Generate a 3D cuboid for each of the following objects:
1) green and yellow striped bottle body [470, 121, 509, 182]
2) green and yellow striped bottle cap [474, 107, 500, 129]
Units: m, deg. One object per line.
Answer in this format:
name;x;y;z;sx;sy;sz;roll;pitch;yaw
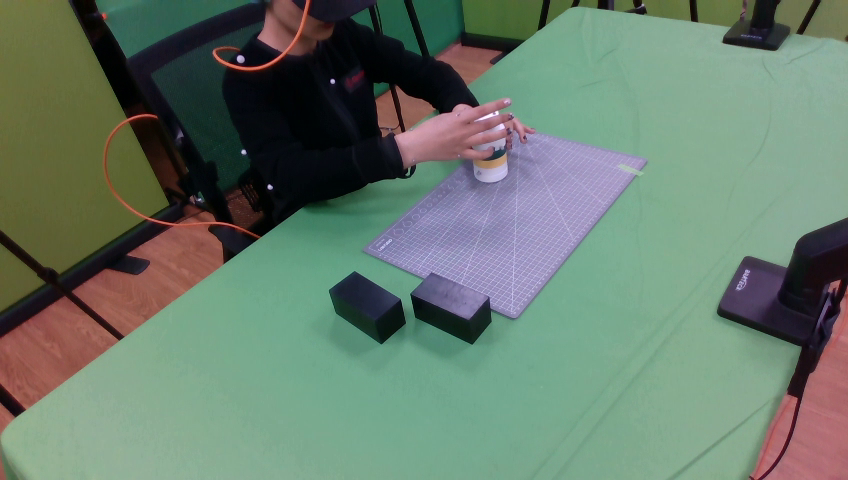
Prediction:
green and yellow striped bottle body;0.116;-0.168;1.078;0.063;0.120;0.063;-6;40;5
green and yellow striped bottle cap;0.108;-0.211;1.043;0.045;0.020;0.045;-4;43;4
